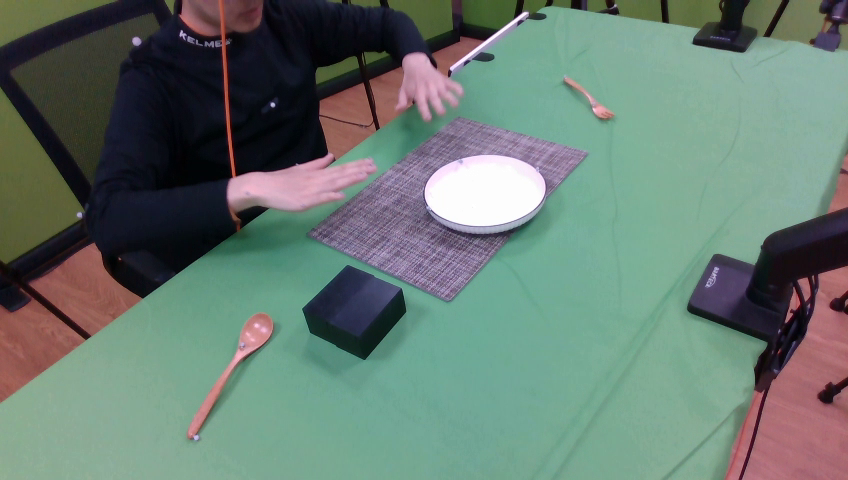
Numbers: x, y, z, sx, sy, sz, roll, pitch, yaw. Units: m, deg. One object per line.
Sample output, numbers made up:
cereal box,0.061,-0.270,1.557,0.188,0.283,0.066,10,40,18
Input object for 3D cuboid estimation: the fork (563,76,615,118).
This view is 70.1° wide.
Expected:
fork,0.341,-0.303,1.272,0.028,0.019,0.205,-23,44,-2

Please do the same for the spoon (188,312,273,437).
spoon,-0.258,0.173,0.803,0.041,0.021,0.193,20,45,6

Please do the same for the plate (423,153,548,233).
plate,0.104,-0.076,1.024,0.209,0.038,0.208,-4,40,4
